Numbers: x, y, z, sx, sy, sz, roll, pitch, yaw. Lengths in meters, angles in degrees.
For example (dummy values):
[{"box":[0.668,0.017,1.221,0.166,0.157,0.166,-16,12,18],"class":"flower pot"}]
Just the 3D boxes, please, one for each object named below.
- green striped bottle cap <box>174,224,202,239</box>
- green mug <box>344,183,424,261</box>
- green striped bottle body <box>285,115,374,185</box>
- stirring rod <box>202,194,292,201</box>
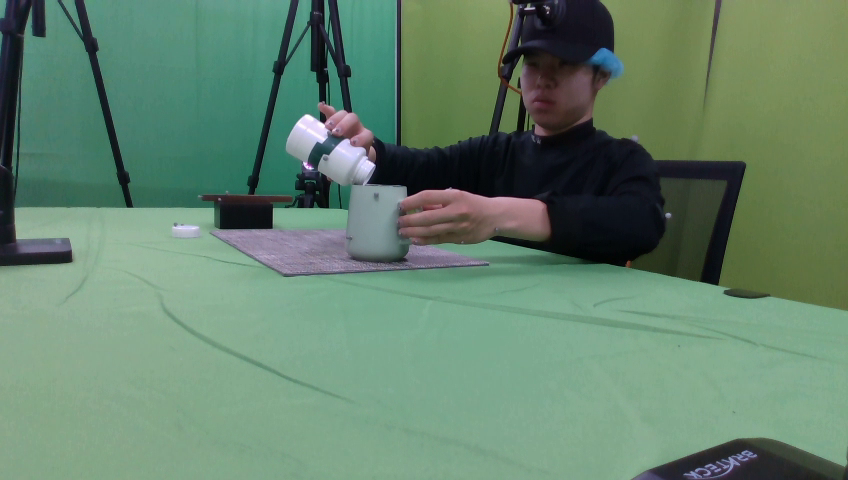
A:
[{"box":[-0.404,-0.015,1.036,0.044,0.020,0.044,-2,9,1],"class":"green striped bottle cap"},{"box":[-0.053,-0.025,0.849,0.125,0.105,0.093,7,8,33],"class":"green mug"},{"box":[-0.131,-0.123,0.860,0.119,0.063,0.063,30,8,0],"class":"green striped bottle body"},{"box":[-0.353,-0.086,1.216,0.177,0.014,0.006,-1,12,-27],"class":"stirring rod"}]
